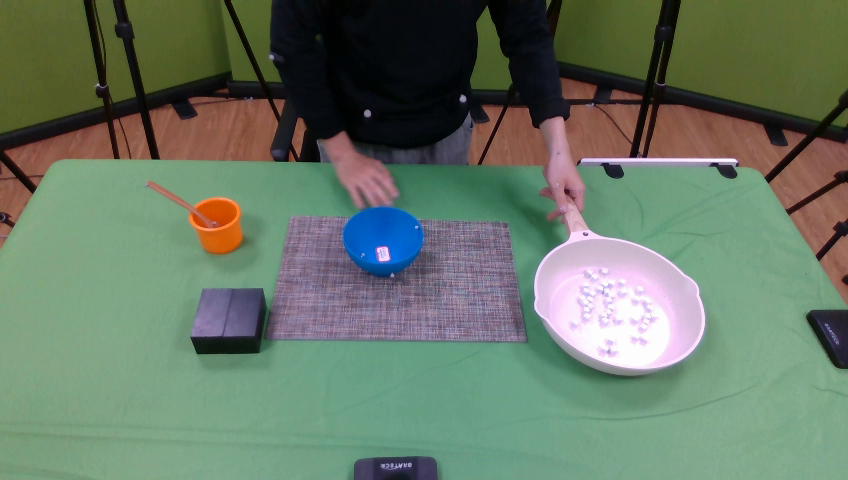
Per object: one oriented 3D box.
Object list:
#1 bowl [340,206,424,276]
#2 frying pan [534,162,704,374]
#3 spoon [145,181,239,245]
[{"bbox_3d":[-0.079,0.014,1.133,0.151,0.077,0.150,2,46,-2],"label":"bowl"},{"bbox_3d":[0.314,0.034,1.133,0.307,0.103,0.484,-7,56,-12],"label":"frying pan"},{"bbox_3d":[-0.429,-0.052,1.126,0.021,0.195,0.041,-27,34,33],"label":"spoon"}]
